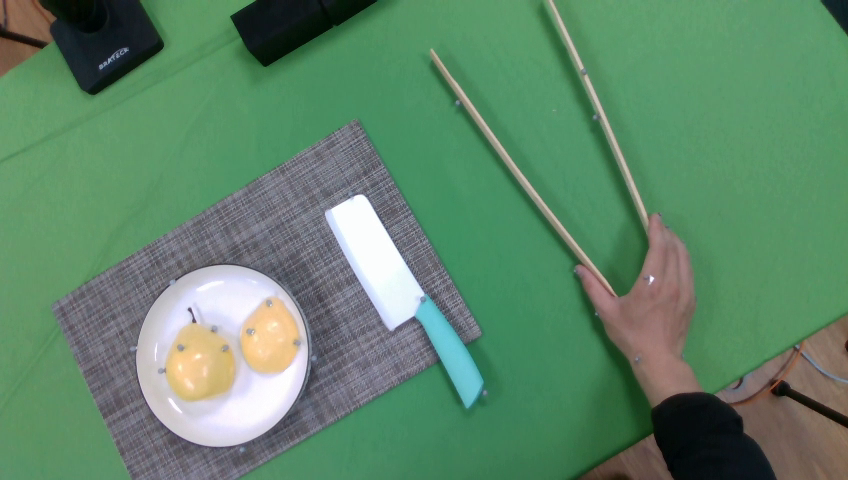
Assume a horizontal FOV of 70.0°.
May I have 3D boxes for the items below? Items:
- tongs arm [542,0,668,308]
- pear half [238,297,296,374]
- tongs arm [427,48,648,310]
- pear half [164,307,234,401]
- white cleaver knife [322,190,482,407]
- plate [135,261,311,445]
[{"bbox_3d":[0.189,-0.109,0.682,0.051,0.026,0.383,-24,83,4],"label":"tongs arm"},{"bbox_3d":[-0.184,0.110,0.695,0.070,0.031,0.088,2,90,3],"label":"pear half"},{"bbox_3d":[0.120,-0.071,0.690,0.028,0.028,0.386,-36,82,-1],"label":"tongs arm"},{"bbox_3d":[-0.265,0.129,0.694,0.076,0.056,0.109,-20,78,0],"label":"pear half"},{"bbox_3d":[-0.028,0.067,0.700,0.066,0.021,0.285,-36,77,12],"label":"white cleaver knife"},{"bbox_3d":[-0.229,0.128,0.703,0.207,0.039,0.207,-1,84,7],"label":"plate"}]
